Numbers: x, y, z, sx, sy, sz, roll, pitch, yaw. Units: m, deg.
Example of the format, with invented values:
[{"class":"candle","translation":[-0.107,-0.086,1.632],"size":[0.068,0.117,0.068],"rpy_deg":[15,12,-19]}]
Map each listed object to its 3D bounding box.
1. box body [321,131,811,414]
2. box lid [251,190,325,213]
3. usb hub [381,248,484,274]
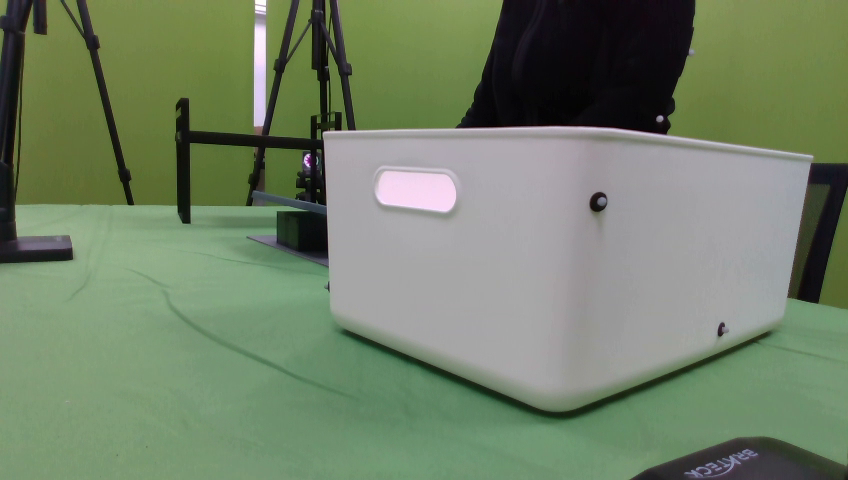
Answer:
[{"class":"box body","translation":[0.124,0.000,0.510],"size":[0.366,0.160,0.253],"rpy_deg":[-4,10,-42]},{"class":"box lid","translation":[-0.066,-0.028,0.972],"size":[0.374,0.015,0.262],"rpy_deg":[11,2,-34]},{"class":"usb hub","translation":[0.011,0.026,0.775],"size":[0.126,0.025,0.049],"rpy_deg":[0,7,-26]}]
